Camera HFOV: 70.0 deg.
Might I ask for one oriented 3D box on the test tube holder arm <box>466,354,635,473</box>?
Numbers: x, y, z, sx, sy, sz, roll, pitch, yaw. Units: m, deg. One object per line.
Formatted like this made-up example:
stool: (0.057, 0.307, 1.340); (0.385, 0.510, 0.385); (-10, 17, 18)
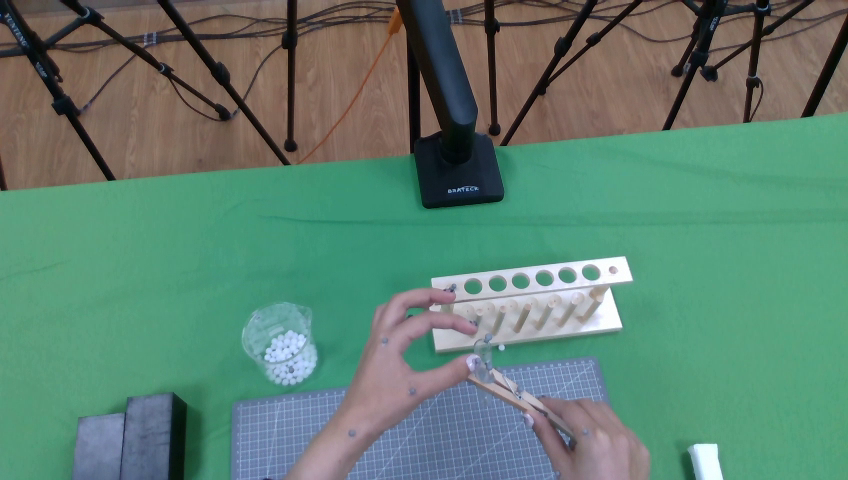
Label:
test tube holder arm: (0.116, 0.161, 0.568); (0.177, 0.015, 0.013); (31, 72, 15)

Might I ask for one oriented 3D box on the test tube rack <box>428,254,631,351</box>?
test tube rack: (0.130, 0.079, 0.756); (0.243, 0.086, 0.066); (-6, 61, -6)

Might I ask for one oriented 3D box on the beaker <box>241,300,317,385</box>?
beaker: (-0.164, 0.123, 0.712); (0.084, 0.101, 0.073); (-38, 69, -21)

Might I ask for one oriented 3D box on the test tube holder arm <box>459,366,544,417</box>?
test tube holder arm: (0.074, 0.145, 0.578); (0.087, 0.015, 0.010); (24, 69, 13)

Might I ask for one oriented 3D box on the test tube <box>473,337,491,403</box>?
test tube: (0.056, 0.129, 0.582); (0.017, 0.151, 0.017); (-3, 58, 5)

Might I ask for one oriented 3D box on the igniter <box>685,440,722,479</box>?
igniter: (0.326, 0.356, 0.644); (0.057, 0.025, 0.274); (4, 61, -11)
